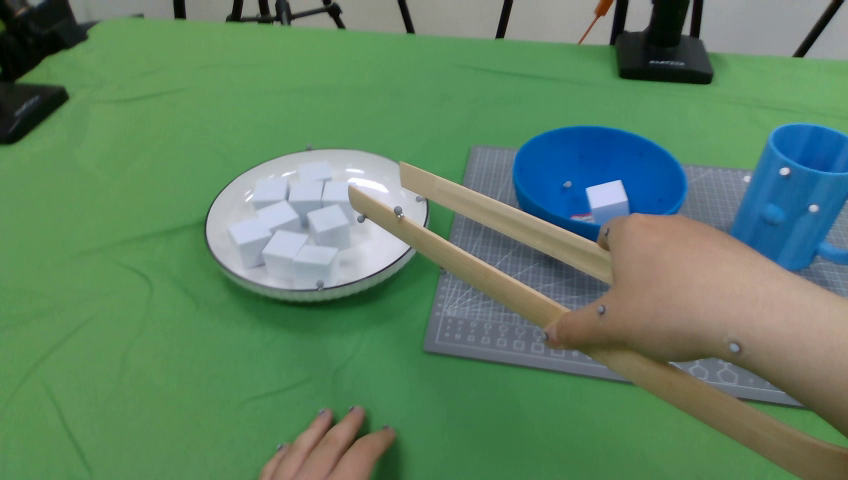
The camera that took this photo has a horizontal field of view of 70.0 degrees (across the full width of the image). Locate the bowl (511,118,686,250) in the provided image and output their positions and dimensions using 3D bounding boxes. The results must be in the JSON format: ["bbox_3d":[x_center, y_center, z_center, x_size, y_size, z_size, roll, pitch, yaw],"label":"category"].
[{"bbox_3d":[0.152,-0.039,0.558,0.151,0.077,0.150,0,44,1],"label":"bowl"}]

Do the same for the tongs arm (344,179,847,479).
[{"bbox_3d":[0.071,0.026,0.380,0.051,0.027,0.380,-25,38,-30],"label":"tongs arm"}]

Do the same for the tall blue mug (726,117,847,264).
[{"bbox_3d":[0.339,-0.038,0.532,0.107,0.109,0.077,15,45,17],"label":"tall blue mug"}]

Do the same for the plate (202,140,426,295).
[{"bbox_3d":[-0.101,-0.022,0.577,0.209,0.038,0.207,0,44,0],"label":"plate"}]

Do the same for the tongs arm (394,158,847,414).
[{"bbox_3d":[0.096,0.013,0.397,0.028,0.028,0.383,-23,37,-33],"label":"tongs arm"}]
